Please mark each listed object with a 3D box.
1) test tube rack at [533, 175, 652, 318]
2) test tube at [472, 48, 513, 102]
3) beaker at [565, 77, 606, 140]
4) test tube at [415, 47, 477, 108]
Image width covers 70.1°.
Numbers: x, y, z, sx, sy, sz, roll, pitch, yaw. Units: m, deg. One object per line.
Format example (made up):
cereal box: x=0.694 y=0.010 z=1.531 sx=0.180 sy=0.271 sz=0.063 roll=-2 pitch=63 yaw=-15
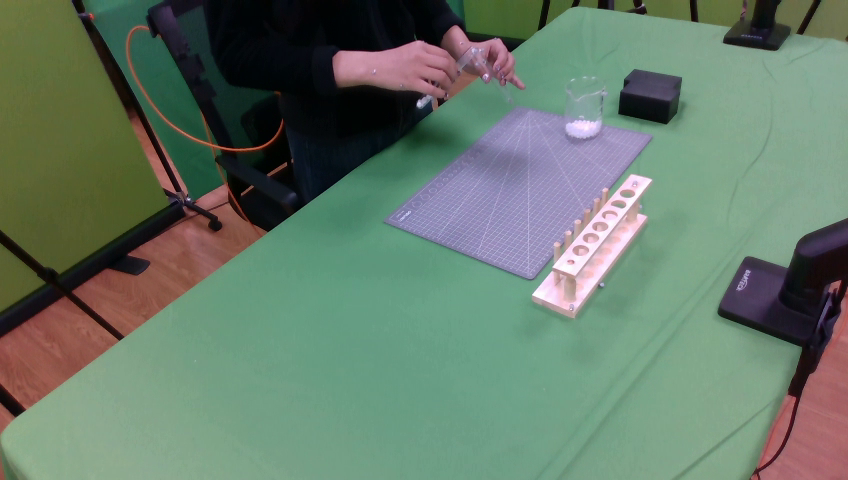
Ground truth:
test tube rack: x=0.250 y=-0.001 z=0.889 sx=0.066 sy=0.085 sz=0.243 roll=22 pitch=49 yaw=33
test tube: x=0.125 y=-0.292 z=1.081 sx=0.017 sy=0.151 sz=0.017 roll=-14 pitch=62 yaw=28
beaker: x=0.304 y=-0.247 z=1.153 sx=0.073 sy=0.101 sz=0.084 roll=15 pitch=46 yaw=27
test tube: x=0.037 y=-0.268 z=0.996 sx=0.017 sy=0.017 sz=0.150 roll=29 pitch=68 yaw=37
